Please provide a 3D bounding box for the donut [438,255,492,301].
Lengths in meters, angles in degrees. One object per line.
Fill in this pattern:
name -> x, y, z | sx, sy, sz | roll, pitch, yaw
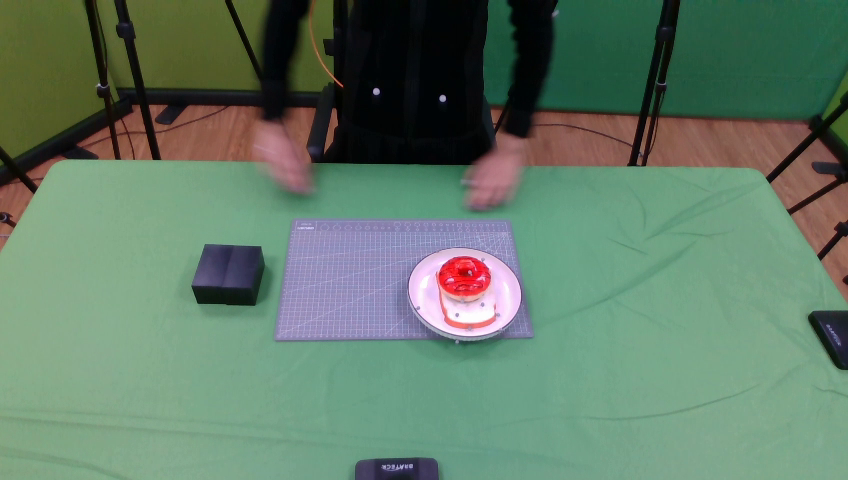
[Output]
donut -> 0.074, 0.066, 1.086 | 0.099, 0.048, 0.098 | 0, 44, 0

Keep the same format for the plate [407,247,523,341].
plate -> 0.073, 0.099, 1.093 | 0.209, 0.038, 0.208 | 2, 46, -2

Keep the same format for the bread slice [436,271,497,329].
bread slice -> 0.081, 0.103, 1.091 | 0.105, 0.019, 0.130 | -3, 46, -5
